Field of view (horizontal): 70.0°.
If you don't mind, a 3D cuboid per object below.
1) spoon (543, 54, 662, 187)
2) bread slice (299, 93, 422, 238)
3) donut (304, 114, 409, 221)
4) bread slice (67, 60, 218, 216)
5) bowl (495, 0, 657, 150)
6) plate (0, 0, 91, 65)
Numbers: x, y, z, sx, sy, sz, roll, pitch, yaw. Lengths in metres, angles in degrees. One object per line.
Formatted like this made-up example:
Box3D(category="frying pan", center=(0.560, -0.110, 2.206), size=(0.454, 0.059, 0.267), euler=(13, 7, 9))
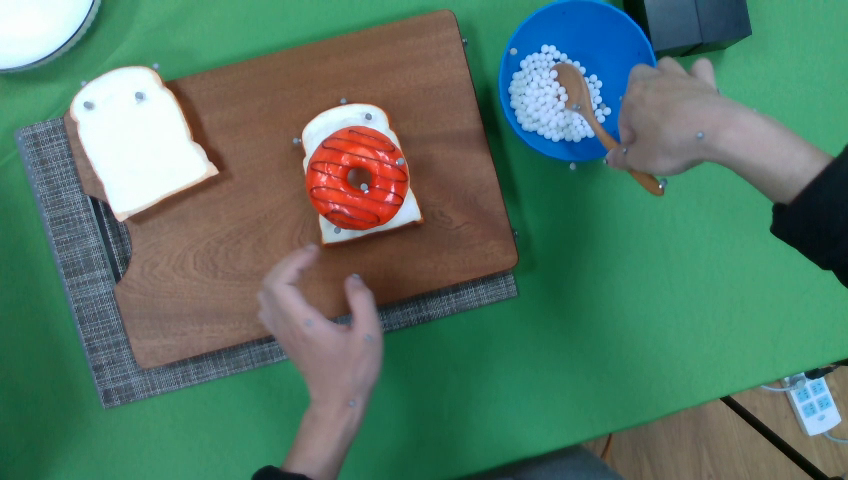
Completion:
Box3D(category="spoon", center=(0.156, -0.109, 0.547), size=(0.022, 0.191, 0.042), euler=(4, 133, -26))
Box3D(category="bread slice", center=(-0.069, -0.076, 0.597), size=(0.105, 0.019, 0.131), euler=(-17, 95, -2))
Box3D(category="donut", center=(-0.063, -0.067, 0.568), size=(0.099, 0.048, 0.099), euler=(0, 95, -3))
Box3D(category="bread slice", center=(-0.279, -0.103, 0.586), size=(0.107, 0.018, 0.134), euler=(-30, 93, -1))
Box3D(category="bowl", center=(0.140, -0.160, 0.597), size=(0.151, 0.076, 0.151), euler=(0, 94, -1))
Box3D(category="plate", center=(-0.420, -0.273, 0.590), size=(0.208, 0.039, 0.207), euler=(0, 94, -2))
